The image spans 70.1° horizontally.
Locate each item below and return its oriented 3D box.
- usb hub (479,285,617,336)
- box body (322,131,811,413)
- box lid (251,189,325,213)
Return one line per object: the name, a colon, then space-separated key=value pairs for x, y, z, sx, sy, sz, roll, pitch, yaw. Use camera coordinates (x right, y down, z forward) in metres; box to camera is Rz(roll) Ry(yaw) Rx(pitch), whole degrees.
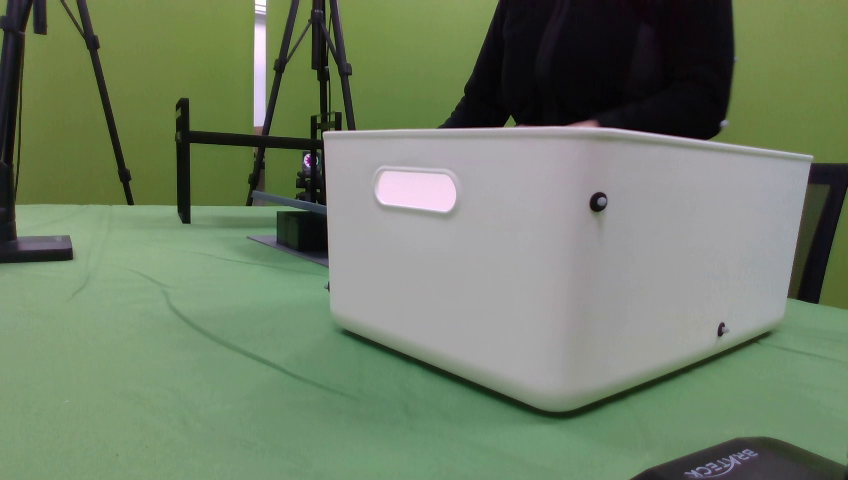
usb hub: x=0.110 y=0.059 z=0.525 sx=0.126 sy=0.025 sz=0.049 roll=-3 pitch=8 yaw=-37
box body: x=0.124 y=-0.001 z=0.510 sx=0.366 sy=0.160 sz=0.253 roll=-4 pitch=10 yaw=-42
box lid: x=-0.066 y=-0.028 z=0.971 sx=0.374 sy=0.015 sz=0.262 roll=11 pitch=2 yaw=-34
